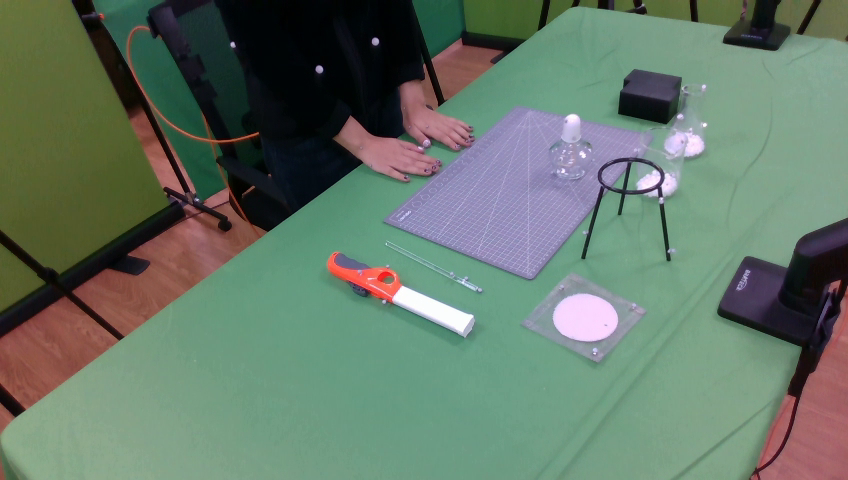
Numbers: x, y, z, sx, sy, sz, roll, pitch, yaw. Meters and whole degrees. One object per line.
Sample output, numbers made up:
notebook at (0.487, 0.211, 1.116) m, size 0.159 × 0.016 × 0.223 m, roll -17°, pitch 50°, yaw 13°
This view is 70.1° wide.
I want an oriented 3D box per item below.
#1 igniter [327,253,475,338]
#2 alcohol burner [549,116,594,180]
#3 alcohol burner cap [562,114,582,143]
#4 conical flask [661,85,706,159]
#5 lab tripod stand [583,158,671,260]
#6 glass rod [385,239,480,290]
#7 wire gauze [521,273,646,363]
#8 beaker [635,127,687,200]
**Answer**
igniter at (-0.045, 0.077, 0.898) m, size 0.274 × 0.025 × 0.057 m, roll 22°, pitch 60°, yaw 32°
alcohol burner at (0.258, -0.166, 1.055) m, size 0.078 × 0.120 × 0.077 m, roll -6°, pitch 42°, yaw 6°
alcohol burner cap at (0.254, -0.192, 1.030) m, size 0.034 × 0.048 × 0.033 m, roll -4°, pitch 50°, yaw 6°
conical flask at (0.464, -0.210, 1.065) m, size 0.075 × 0.122 × 0.075 m, roll -6°, pitch 40°, yaw 5°
lab tripod stand at (0.300, -0.046, 0.895) m, size 0.148 × 0.132 × 0.147 m, roll -7°, pitch 38°, yaw 6°
glass rod at (0.009, 0.037, 0.950) m, size 0.198 × 0.008 × 0.008 m, roll 26°, pitch 52°, yaw 35°
wire gauze at (0.219, 0.105, 0.830) m, size 0.120 × 0.011 × 0.125 m, roll 28°, pitch 54°, yaw 37°
beaker at (0.388, -0.122, 0.994) m, size 0.074 × 0.101 × 0.083 m, roll -8°, pitch 40°, yaw 2°
